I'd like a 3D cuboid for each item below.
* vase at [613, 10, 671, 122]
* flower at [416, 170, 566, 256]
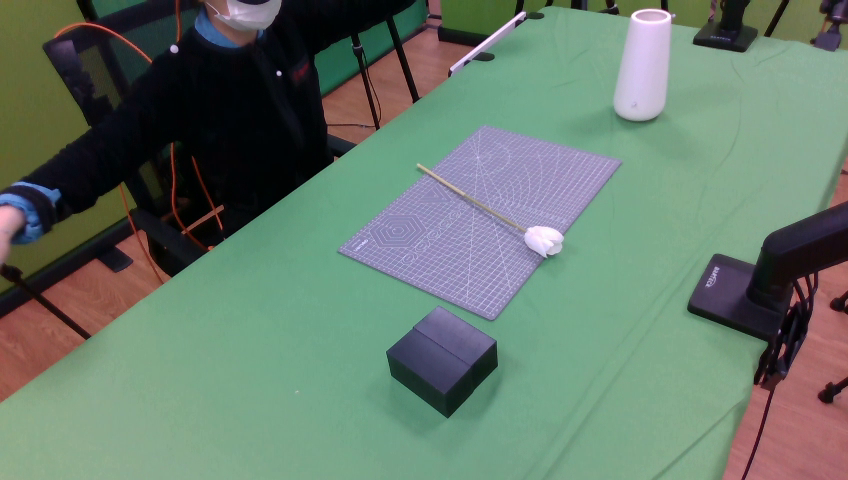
[{"bbox_3d":[0.419,-0.326,1.151,0.098,0.201,0.097,-4,42,4],"label":"vase"},{"bbox_3d":[0.094,-0.061,1.028,0.358,0.038,0.044,33,92,44],"label":"flower"}]
